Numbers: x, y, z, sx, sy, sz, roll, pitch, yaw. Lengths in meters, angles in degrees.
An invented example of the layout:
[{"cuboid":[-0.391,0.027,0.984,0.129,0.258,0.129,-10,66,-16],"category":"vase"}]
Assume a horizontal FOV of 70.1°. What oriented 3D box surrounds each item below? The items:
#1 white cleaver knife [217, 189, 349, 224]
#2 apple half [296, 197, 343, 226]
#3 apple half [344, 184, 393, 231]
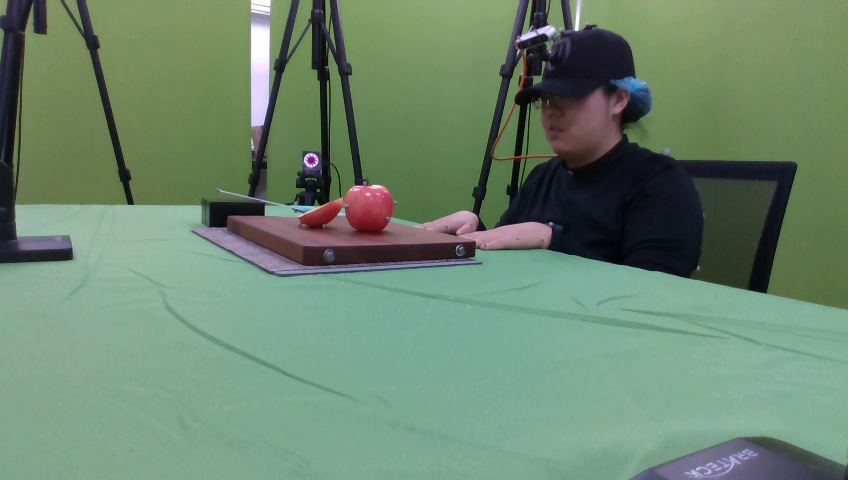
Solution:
[{"cuboid":[-0.275,-0.066,1.233,0.288,0.021,0.065,11,7,-29],"category":"white cleaver knife"},{"cuboid":[-0.163,-0.041,0.978,0.081,0.033,0.081,-21,7,3],"category":"apple half"},{"cuboid":[-0.079,-0.049,0.947,0.053,0.074,0.081,15,10,41],"category":"apple half"}]
